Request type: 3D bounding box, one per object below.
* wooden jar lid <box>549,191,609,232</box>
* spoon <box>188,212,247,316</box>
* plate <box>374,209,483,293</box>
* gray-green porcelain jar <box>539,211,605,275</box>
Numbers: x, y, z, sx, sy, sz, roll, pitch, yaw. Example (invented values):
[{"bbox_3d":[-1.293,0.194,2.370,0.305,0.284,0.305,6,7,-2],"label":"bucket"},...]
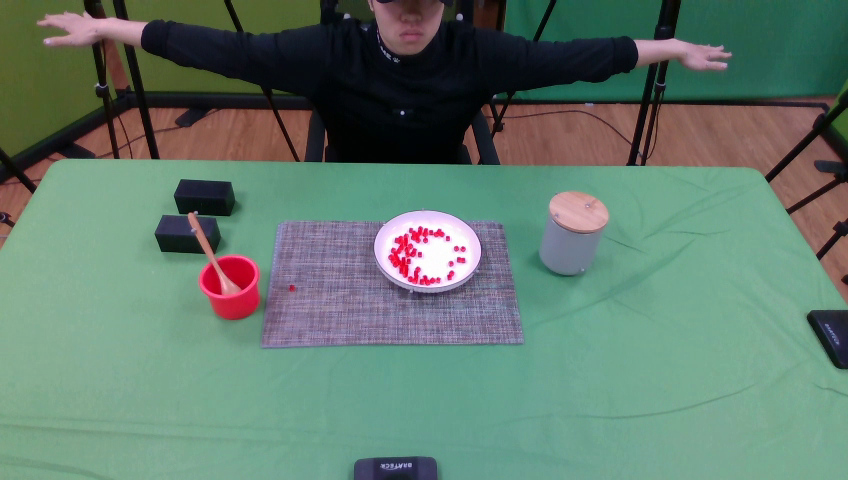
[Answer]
[{"bbox_3d":[0.280,-0.049,1.101,0.108,0.021,0.107,2,44,-2],"label":"wooden jar lid"},{"bbox_3d":[-0.358,0.042,1.037,0.041,0.021,0.194,-28,93,-22],"label":"spoon"},{"bbox_3d":[0.008,0.024,1.158,0.208,0.039,0.206,2,46,-2],"label":"plate"},{"bbox_3d":[0.278,-0.004,1.148,0.106,0.127,0.105,2,46,-2],"label":"gray-green porcelain jar"}]
